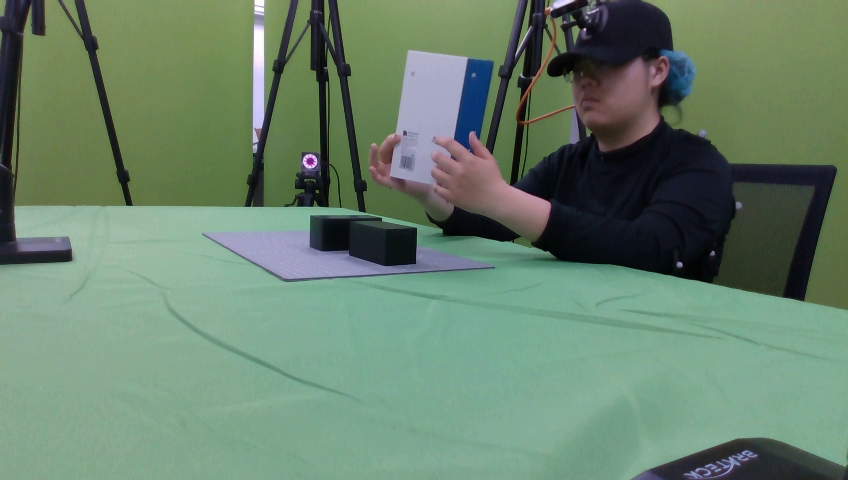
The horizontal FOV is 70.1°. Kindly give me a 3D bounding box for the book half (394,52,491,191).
[{"bbox_3d":[0.027,-0.198,1.006,0.142,0.210,0.007,15,14,25],"label":"book half"}]

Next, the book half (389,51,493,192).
[{"bbox_3d":[0.024,-0.195,0.995,0.148,0.210,0.016,13,12,21],"label":"book half"}]
